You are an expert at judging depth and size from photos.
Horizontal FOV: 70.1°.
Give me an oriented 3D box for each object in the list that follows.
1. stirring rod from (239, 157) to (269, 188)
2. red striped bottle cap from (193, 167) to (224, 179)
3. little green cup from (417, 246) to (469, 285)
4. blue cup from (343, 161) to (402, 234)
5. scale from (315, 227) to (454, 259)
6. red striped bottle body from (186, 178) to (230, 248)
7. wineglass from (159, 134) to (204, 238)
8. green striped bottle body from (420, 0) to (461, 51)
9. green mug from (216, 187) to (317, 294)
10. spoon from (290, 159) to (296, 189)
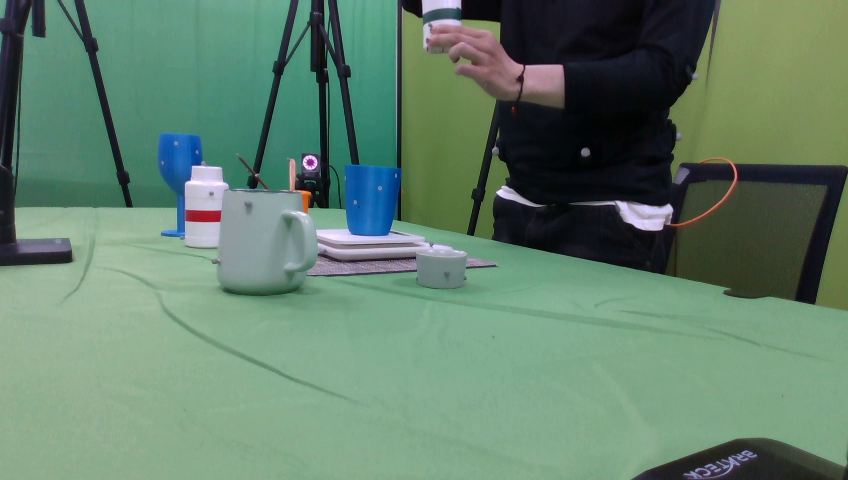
[{"bbox_3d":[-0.309,-0.098,1.209,0.006,0.177,0.014,-39,29,-4],"label":"stirring rod"},{"bbox_3d":[-0.329,-0.103,0.921,0.044,0.017,0.044,0,9,0],"label":"red striped bottle cap"},{"bbox_3d":[0.021,0.029,0.701,0.061,0.038,0.061,1,6,0],"label":"little green cup"},{"bbox_3d":[-0.078,-0.062,0.884,0.093,0.100,0.092,4,6,0],"label":"blue cup"},{"bbox_3d":[-0.066,0.001,0.906,0.202,0.031,0.148,-2,8,-31],"label":"scale"},{"bbox_3d":[-0.331,-0.050,0.927,0.063,0.119,0.063,2,7,0],"label":"red striped bottle body"},{"bbox_3d":[-0.415,-0.093,1.040,0.074,0.172,0.073,2,7,0],"label":"wineglass"},{"bbox_3d":[0.025,-0.366,0.958,0.063,0.119,0.063,-3,5,1],"label":"green striped bottle body"},{"bbox_3d":[-0.157,0.000,0.629,0.124,0.105,0.093,7,9,37],"label":"green mug"},{"bbox_3d":[-0.273,-0.102,1.252,0.042,0.193,0.021,7,-38,-17],"label":"spoon"}]
